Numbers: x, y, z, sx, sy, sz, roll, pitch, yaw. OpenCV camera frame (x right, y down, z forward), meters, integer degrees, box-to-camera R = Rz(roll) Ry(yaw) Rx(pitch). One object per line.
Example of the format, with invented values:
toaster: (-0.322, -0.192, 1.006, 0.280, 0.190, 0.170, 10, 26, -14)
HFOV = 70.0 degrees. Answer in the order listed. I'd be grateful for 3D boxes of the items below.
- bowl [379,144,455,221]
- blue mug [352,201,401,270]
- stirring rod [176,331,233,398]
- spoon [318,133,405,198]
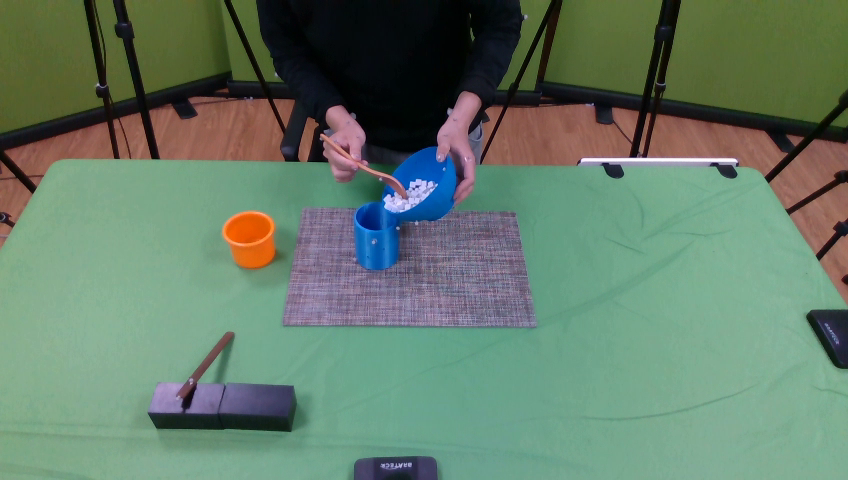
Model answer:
bowl: (0.001, -0.087, 1.078, 0.151, 0.077, 0.150, -26, 42, 26)
blue mug: (-0.082, -0.017, 1.144, 0.082, 0.106, 0.116, 30, 51, 22)
stirring rod: (-0.342, 0.192, 0.955, 0.014, 0.006, 0.175, 3, 24, 7)
spoon: (-0.112, -0.135, 1.087, 0.194, 0.041, 0.021, 32, 77, 1)
